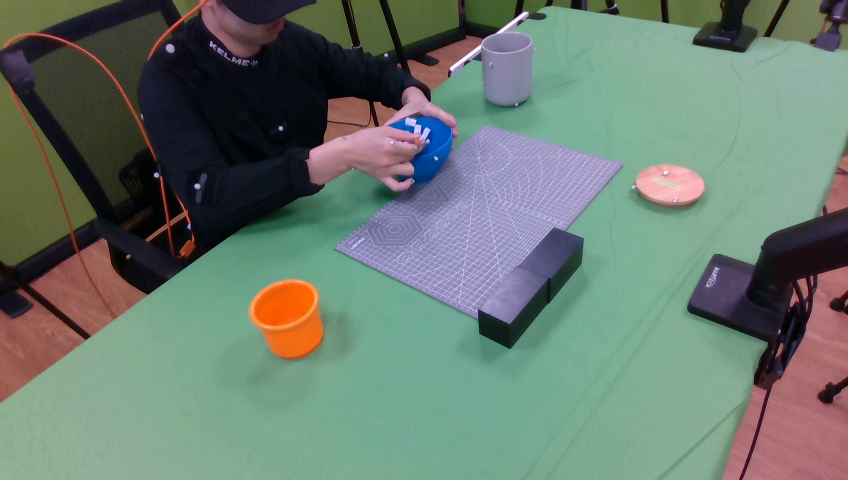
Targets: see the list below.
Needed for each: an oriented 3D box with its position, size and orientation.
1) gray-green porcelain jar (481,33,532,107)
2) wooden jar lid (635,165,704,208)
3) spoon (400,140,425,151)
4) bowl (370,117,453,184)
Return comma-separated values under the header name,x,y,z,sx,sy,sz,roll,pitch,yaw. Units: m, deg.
name,x,y,z,sx,sy,sz,roll,pitch,yaw
gray-green porcelain jar,0.175,-0.355,1.278,0.106,0.127,0.105,-4,41,4
wooden jar lid,0.410,-0.089,1.014,0.108,0.021,0.108,-5,42,5
spoon,-0.016,-0.164,1.039,0.042,0.021,0.193,-8,8,-5
bowl,-0.018,-0.155,1.106,0.151,0.077,0.150,-6,39,5
